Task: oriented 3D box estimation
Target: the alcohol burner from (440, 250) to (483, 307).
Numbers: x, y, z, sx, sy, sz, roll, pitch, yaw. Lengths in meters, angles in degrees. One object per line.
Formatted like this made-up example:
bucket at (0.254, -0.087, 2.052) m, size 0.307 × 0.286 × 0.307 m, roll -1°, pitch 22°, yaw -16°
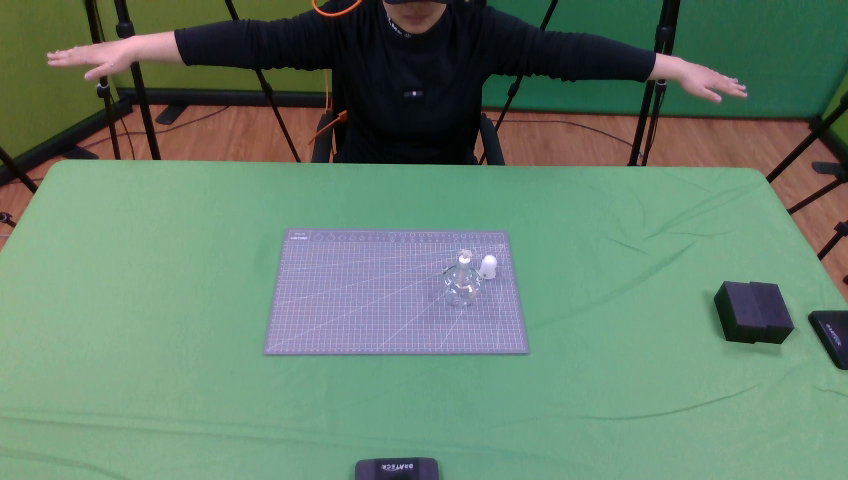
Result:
alcohol burner at (0.068, 0.063, 1.076) m, size 0.078 × 0.120 × 0.077 m, roll 1°, pitch 45°, yaw -1°

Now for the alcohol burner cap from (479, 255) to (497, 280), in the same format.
alcohol burner cap at (0.122, 0.050, 1.143) m, size 0.034 × 0.048 × 0.033 m, roll 2°, pitch 45°, yaw -2°
